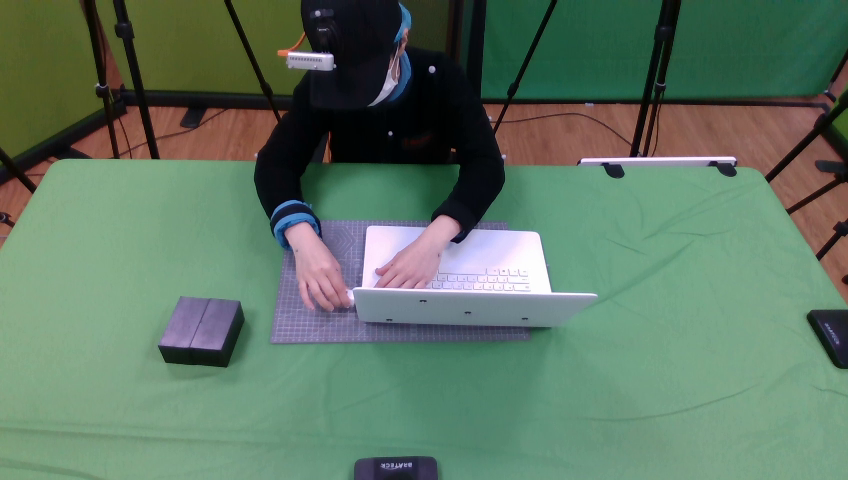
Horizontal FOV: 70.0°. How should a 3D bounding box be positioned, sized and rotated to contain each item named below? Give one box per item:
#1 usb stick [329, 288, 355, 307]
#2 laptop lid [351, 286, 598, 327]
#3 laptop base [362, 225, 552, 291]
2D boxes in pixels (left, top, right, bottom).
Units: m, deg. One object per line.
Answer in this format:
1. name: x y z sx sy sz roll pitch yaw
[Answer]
1. usb stick: -0.137 0.102 1.067 0.059 0.027 0.021 9 44 -9
2. laptop lid: 0.068 0.109 0.952 0.357 0.242 0.013 2 71 -4
3. laptop base: 0.061 0.063 1.145 0.354 0.023 0.234 2 43 -3
